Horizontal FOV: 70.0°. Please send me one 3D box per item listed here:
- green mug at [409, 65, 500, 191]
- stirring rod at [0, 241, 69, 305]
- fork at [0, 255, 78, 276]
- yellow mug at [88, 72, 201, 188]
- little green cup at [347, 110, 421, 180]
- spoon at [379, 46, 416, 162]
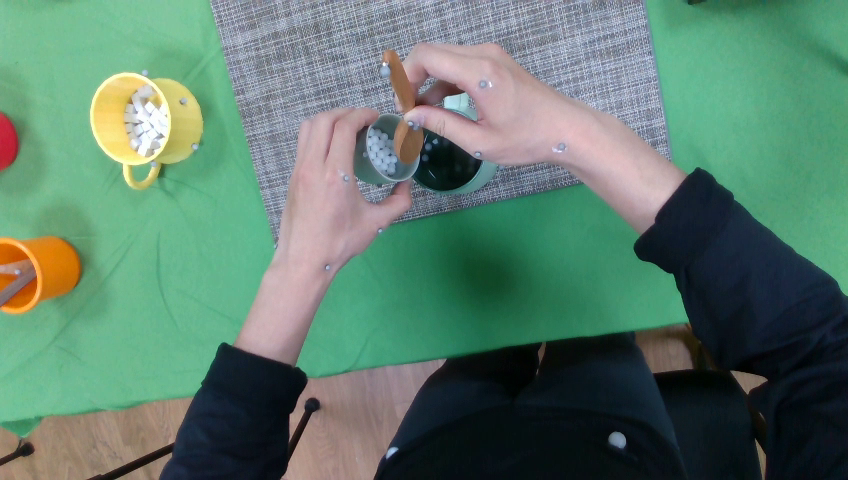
[{"bbox_3d":[0.028,-0.110,0.605,0.092,0.105,0.125,5,100,11],"label":"green mug"},{"bbox_3d":[-0.501,0.064,0.724,0.014,0.006,0.175,39,62,1],"label":"stirring rod"},{"bbox_3d":[-0.531,0.034,0.718,0.208,0.018,0.028,-2,100,-33],"label":"fork"},{"bbox_3d":[-0.319,-0.123,0.693,0.100,0.064,0.131,14,103,8],"label":"yellow mug"},{"bbox_3d":[-0.037,-0.087,0.540,0.038,0.062,0.062,27,107,44],"label":"little green cup"},{"bbox_3d":[-0.016,-0.098,0.452,0.021,0.194,0.041,23,83,3],"label":"spoon"}]
